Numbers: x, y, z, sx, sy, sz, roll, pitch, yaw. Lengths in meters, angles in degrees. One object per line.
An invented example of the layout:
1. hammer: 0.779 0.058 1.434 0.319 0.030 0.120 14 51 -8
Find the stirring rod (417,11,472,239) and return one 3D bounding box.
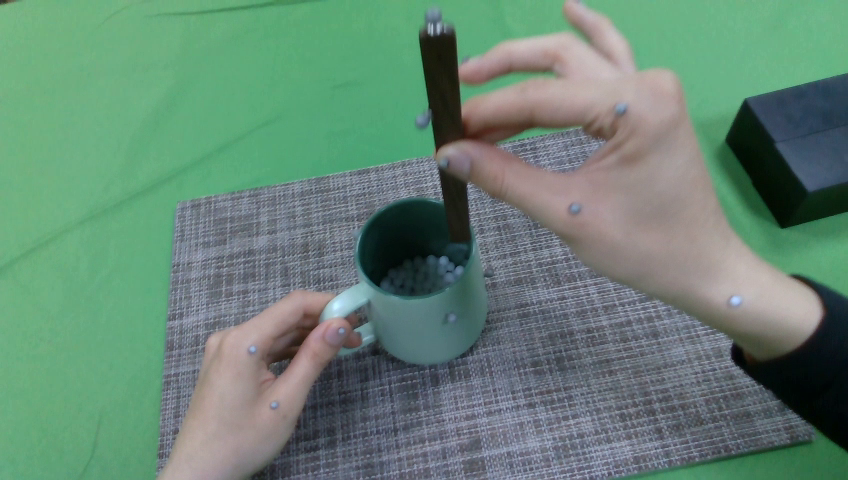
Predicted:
1. stirring rod: 0.013 -0.039 0.287 0.014 0.177 0.005 -8 65 3

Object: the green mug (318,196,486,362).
1. green mug: -0.016 0.039 0.427 0.125 0.106 0.091 -31 61 -12
